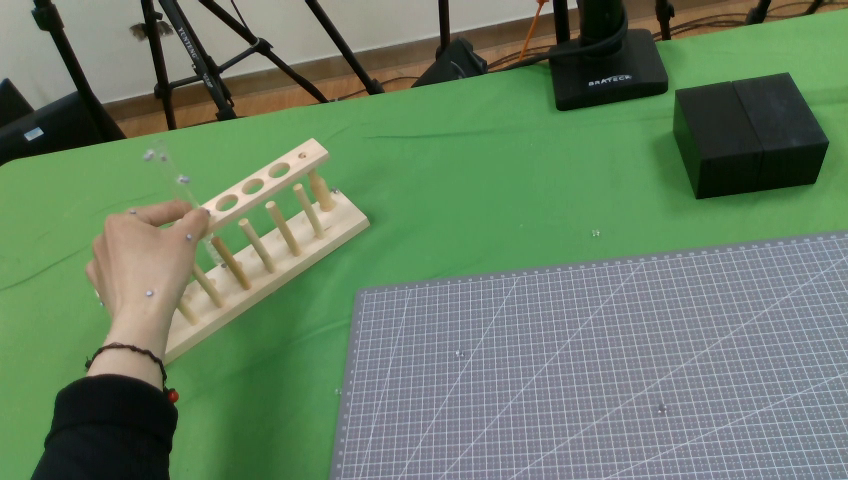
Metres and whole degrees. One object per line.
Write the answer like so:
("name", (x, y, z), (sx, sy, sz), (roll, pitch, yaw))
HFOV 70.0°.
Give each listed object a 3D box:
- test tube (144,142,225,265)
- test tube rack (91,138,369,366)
("test tube", (-0.215, -0.028, 0.559), (0.017, 0.152, 0.017), (-6, 47, 7))
("test tube rack", (-0.181, 0.009, 0.591), (0.242, 0.086, 0.066), (-36, 49, -14))
